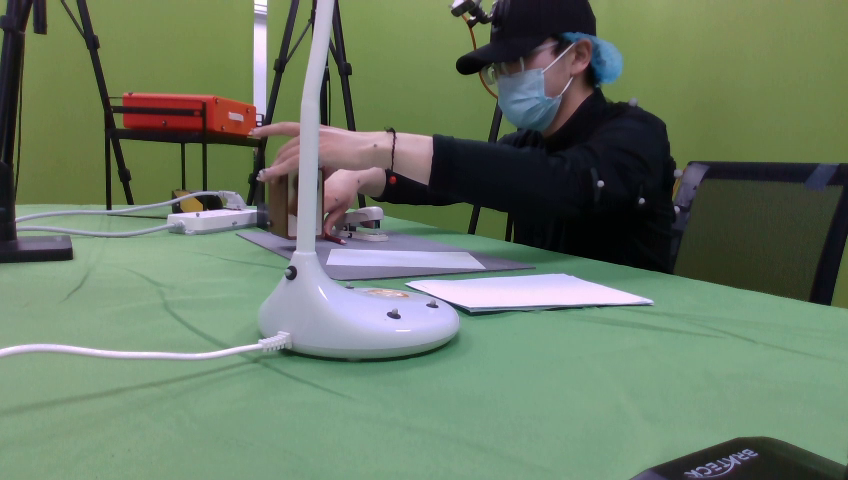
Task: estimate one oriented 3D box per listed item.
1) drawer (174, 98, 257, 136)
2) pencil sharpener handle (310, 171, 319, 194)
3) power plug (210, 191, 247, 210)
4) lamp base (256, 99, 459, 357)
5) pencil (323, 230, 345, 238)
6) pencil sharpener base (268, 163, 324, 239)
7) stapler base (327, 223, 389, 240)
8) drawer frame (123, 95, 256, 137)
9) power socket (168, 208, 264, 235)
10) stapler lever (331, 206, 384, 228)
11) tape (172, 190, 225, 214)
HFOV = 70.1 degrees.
[{"bbox_3d":[-0.518,-0.279,1.376,0.211,0.073,0.195,3,8,10],"label":"drawer"},{"bbox_3d":[-0.164,-0.064,0.849,0.036,0.067,0.030,23,-5,-37],"label":"pencil sharpener handle"},{"bbox_3d":[-0.386,-0.071,1.204,0.072,0.052,0.035,7,9,26],"label":"power plug"},{"bbox_3d":[-0.055,-0.013,0.463,0.160,0.180,0.180,6,11,27],"label":"lamp base"},{"bbox_3d":[-0.174,-0.014,1.036,0.012,0.012,0.193,-2,6,-30],"label":"pencil"},{"bbox_3d":[-0.189,-0.059,0.895,0.062,0.107,0.076,-3,11,-36],"label":"pencil sharpener base"},{"bbox_3d":[-0.118,-0.018,1.073,0.130,0.024,0.041,7,8,41],"label":"stapler base"},{"bbox_3d":[-0.524,-0.281,1.376,0.213,0.082,0.202,3,8,8],"label":"drawer frame"},{"bbox_3d":[-0.381,-0.038,1.129,0.072,0.032,0.227,4,8,17],"label":"power socket"},{"bbox_3d":[-0.119,-0.043,1.070,0.117,0.040,0.027,7,8,41],"label":"stapler lever"},{"bbox_3d":[-0.515,-0.087,1.388,0.117,0.052,0.117,3,7,0],"label":"tape"}]
